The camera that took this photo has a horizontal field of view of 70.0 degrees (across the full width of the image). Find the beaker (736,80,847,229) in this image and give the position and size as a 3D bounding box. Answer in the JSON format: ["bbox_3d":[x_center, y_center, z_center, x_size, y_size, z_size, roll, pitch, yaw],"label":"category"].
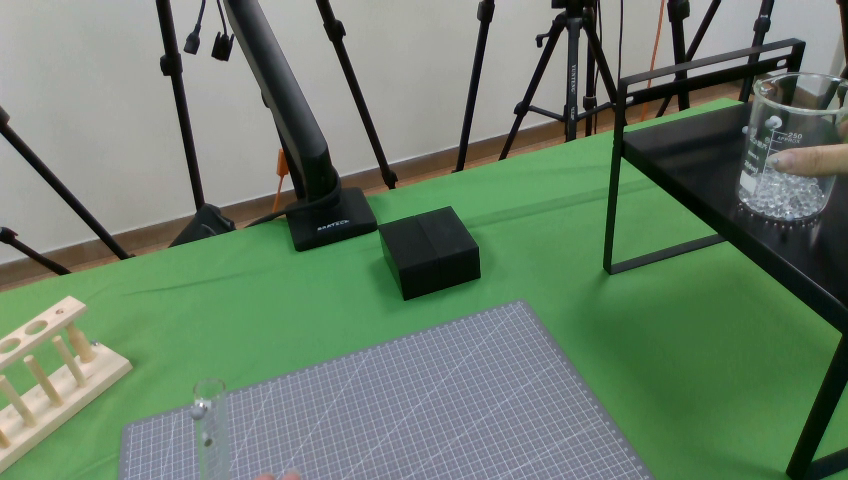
[{"bbox_3d":[0.293,-0.068,0.483,0.074,0.101,0.083,-19,37,-16],"label":"beaker"}]

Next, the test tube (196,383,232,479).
[{"bbox_3d":[-0.114,0.140,0.334,0.017,0.151,0.017,7,29,-3],"label":"test tube"}]

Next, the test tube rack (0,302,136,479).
[{"bbox_3d":[-0.425,0.174,0.604,0.066,0.086,0.242,17,42,30],"label":"test tube rack"}]
